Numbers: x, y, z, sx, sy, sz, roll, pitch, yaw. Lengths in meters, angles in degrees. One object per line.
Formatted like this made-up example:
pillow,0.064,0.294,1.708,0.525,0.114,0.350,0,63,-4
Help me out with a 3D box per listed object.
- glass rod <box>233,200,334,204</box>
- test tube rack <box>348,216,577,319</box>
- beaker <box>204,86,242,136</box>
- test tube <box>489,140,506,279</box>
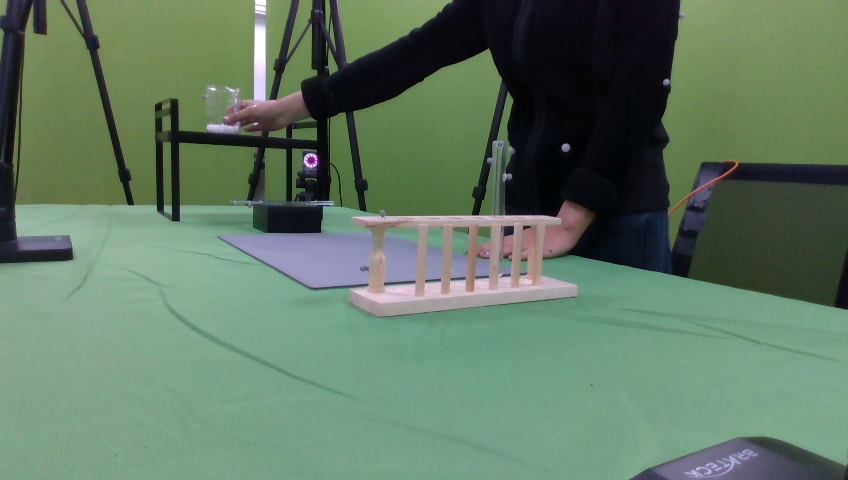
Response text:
glass rod,-0.261,-0.071,1.146,0.201,0.008,0.008,-2,9,-34
test tube rack,0.048,0.021,0.619,0.244,0.085,0.066,-2,8,-31
beaker,-0.429,-0.276,1.300,0.083,0.100,0.074,9,10,37
test tube,0.079,-0.032,0.654,0.017,0.150,0.017,1,2,0
